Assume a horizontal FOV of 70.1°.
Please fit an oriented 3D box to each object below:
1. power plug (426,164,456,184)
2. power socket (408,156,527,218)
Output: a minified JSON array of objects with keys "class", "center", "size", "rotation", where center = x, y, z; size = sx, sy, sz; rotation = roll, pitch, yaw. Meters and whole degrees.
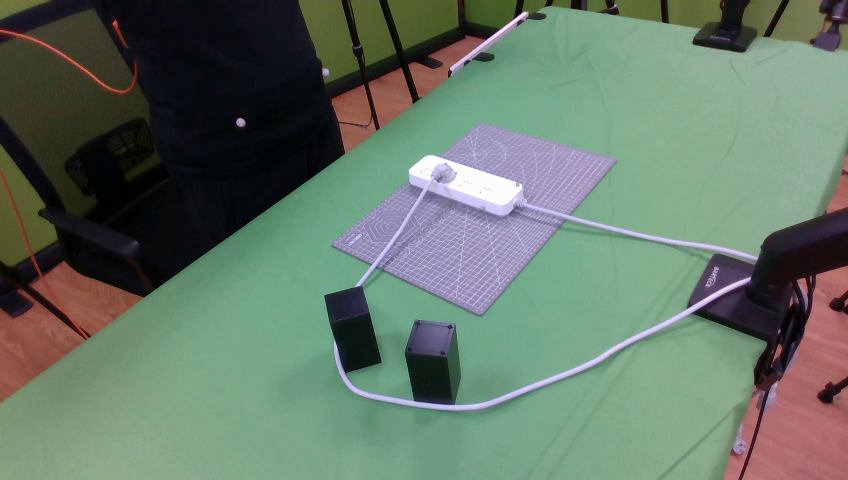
[{"class":"power plug","center":[0.024,-0.103,1.047],"size":[0.073,0.053,0.035],"rotation":[-35,47,-26]},{"class":"power socket","center":[0.070,-0.095,1.059],"size":[0.225,0.033,0.072],"rotation":[22,49,30]}]
